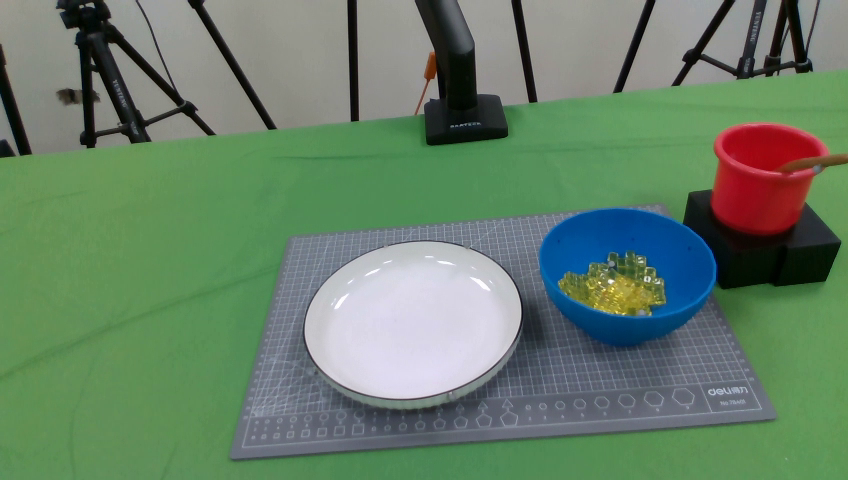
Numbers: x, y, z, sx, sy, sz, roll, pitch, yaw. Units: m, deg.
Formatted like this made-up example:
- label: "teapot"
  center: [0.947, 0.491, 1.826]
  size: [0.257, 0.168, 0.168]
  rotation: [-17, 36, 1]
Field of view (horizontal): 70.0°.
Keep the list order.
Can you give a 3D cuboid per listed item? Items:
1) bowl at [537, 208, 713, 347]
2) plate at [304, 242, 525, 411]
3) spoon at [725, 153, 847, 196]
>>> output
- label: "bowl"
  center: [0.180, 0.045, 0.561]
  size: [0.151, 0.077, 0.150]
  rotation: [-4, 39, 4]
- label: "plate"
  center: [-0.008, 0.080, 0.580]
  size: [0.207, 0.039, 0.205]
  rotation: [-4, 39, 4]
- label: "spoon"
  center: [0.319, -0.059, 0.539]
  size: [0.041, 0.021, 0.194]
  rotation: [1, -5, 7]
